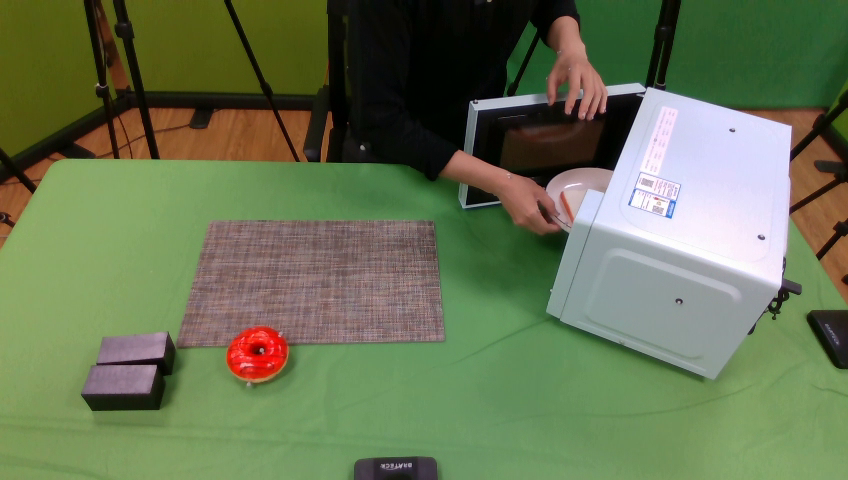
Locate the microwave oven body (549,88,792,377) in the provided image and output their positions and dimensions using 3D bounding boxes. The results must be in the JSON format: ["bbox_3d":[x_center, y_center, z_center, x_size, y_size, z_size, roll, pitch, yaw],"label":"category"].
[{"bbox_3d":[0.456,-0.028,1.088,0.325,0.261,0.440,20,47,16],"label":"microwave oven body"}]

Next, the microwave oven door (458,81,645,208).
[{"bbox_3d":[0.251,-0.190,1.221,0.356,0.245,0.039,-9,47,-12],"label":"microwave oven door"}]

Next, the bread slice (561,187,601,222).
[{"bbox_3d":[0.340,-0.064,1.164,0.131,0.019,0.104,-6,46,-6],"label":"bread slice"}]

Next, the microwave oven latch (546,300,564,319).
[{"bbox_3d":[0.242,0.102,1.081,0.030,0.029,0.079,22,48,17],"label":"microwave oven latch"}]

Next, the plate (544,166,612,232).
[{"bbox_3d":[0.332,-0.065,1.162,0.208,0.039,0.206,1,44,0],"label":"plate"}]

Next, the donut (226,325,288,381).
[{"bbox_3d":[-0.270,0.182,0.984,0.099,0.048,0.098,5,49,-5],"label":"donut"}]
